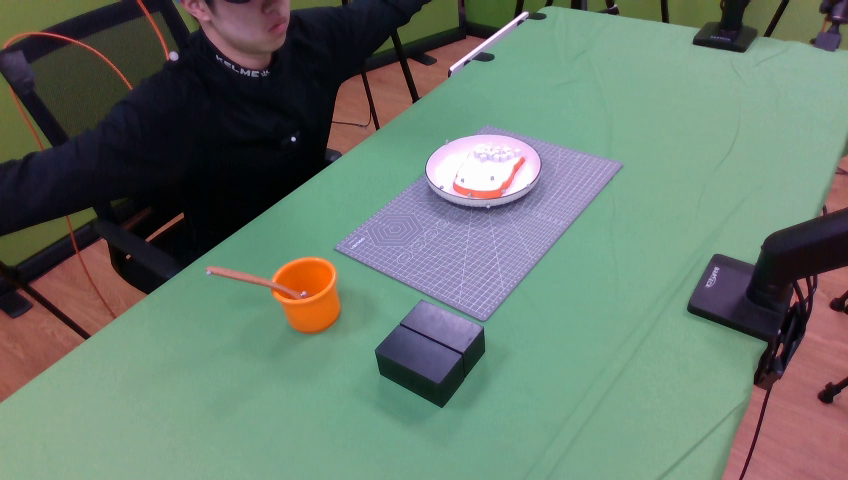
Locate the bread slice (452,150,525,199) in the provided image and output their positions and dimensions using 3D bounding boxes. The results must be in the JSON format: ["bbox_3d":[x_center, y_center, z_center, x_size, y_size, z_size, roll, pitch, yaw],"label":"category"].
[{"bbox_3d":[0.112,-0.118,1.079,0.104,0.019,0.131,11,43,21],"label":"bread slice"}]

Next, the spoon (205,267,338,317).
[{"bbox_3d":[-0.202,0.067,0.822,0.021,0.195,0.041,-45,38,25],"label":"spoon"}]

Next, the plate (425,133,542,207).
[{"bbox_3d":[0.106,-0.121,1.079,0.209,0.038,0.208,-4,41,4],"label":"plate"}]
